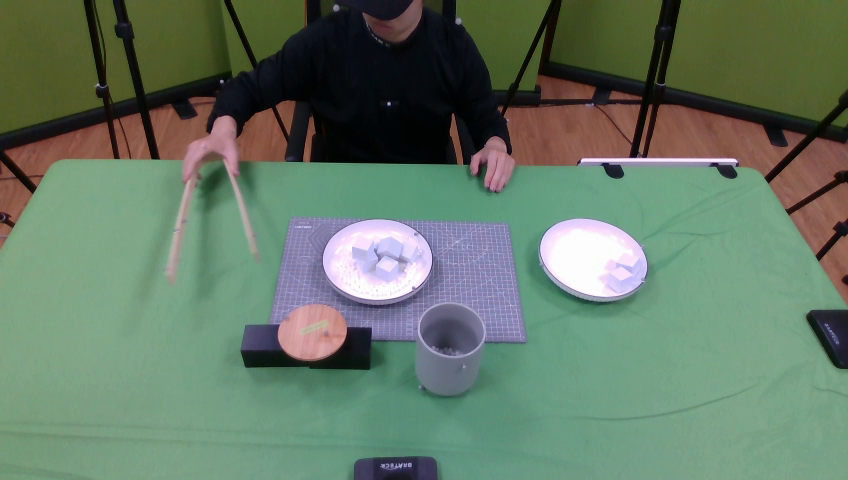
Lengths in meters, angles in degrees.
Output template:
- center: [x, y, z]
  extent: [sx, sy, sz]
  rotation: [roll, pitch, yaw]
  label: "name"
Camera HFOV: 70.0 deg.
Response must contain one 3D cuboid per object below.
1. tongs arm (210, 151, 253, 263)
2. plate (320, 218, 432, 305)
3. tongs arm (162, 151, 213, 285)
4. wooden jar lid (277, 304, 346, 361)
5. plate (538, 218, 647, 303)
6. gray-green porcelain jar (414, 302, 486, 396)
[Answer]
- center: [-0.366, -0.076, 1.151]
  extent: [0.028, 0.028, 0.385]
  rotation: [-24, 42, -10]
  label: "tongs arm"
- center: [-0.089, 0.044, 1.134]
  extent: [0.209, 0.038, 0.208]
  rotation: [3, 46, -2]
  label: "plate"
- center: [-0.439, -0.056, 1.141]
  extent: [0.051, 0.027, 0.382]
  rotation: [-14, 40, -3]
  label: "tongs arm"
- center: [-0.179, 0.150, 0.972]
  extent: [0.108, 0.021, 0.107]
  rotation: [2, 45, -2]
  label: "wooden jar lid"
- center: [0.322, 0.042, 1.171]
  extent: [0.208, 0.039, 0.206]
  rotation: [2, 46, -2]
  label: "plate"
- center: [0.038, 0.177, 0.958]
  extent: [0.106, 0.127, 0.105]
  rotation: [2, 46, -2]
  label: "gray-green porcelain jar"
